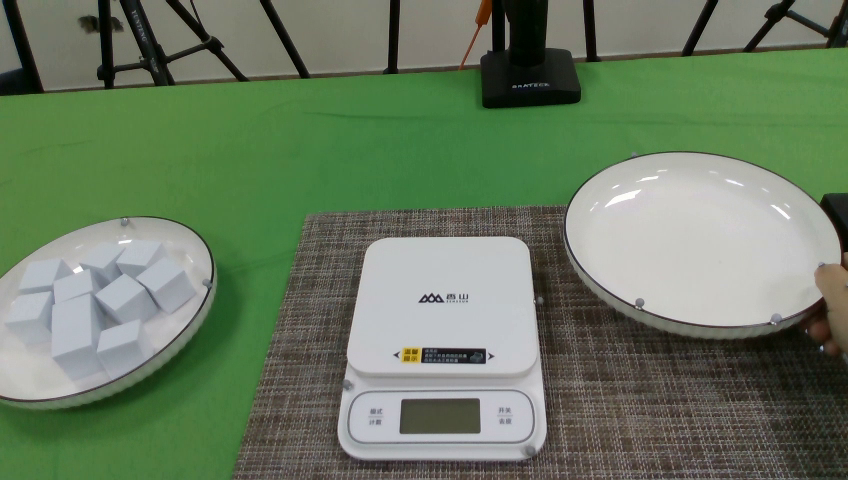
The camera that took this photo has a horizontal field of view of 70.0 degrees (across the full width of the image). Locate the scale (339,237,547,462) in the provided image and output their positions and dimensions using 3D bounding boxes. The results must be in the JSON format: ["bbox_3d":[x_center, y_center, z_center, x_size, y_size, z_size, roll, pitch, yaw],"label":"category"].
[{"bbox_3d":[0.016,0.076,0.481,0.148,0.032,0.199,-1,44,6],"label":"scale"}]

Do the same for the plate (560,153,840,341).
[{"bbox_3d":[0.218,0.004,0.500,0.207,0.039,0.205,-5,43,5],"label":"plate"}]

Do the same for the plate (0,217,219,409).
[{"bbox_3d":[-0.282,0.061,0.532,0.209,0.038,0.207,-3,43,3],"label":"plate"}]
